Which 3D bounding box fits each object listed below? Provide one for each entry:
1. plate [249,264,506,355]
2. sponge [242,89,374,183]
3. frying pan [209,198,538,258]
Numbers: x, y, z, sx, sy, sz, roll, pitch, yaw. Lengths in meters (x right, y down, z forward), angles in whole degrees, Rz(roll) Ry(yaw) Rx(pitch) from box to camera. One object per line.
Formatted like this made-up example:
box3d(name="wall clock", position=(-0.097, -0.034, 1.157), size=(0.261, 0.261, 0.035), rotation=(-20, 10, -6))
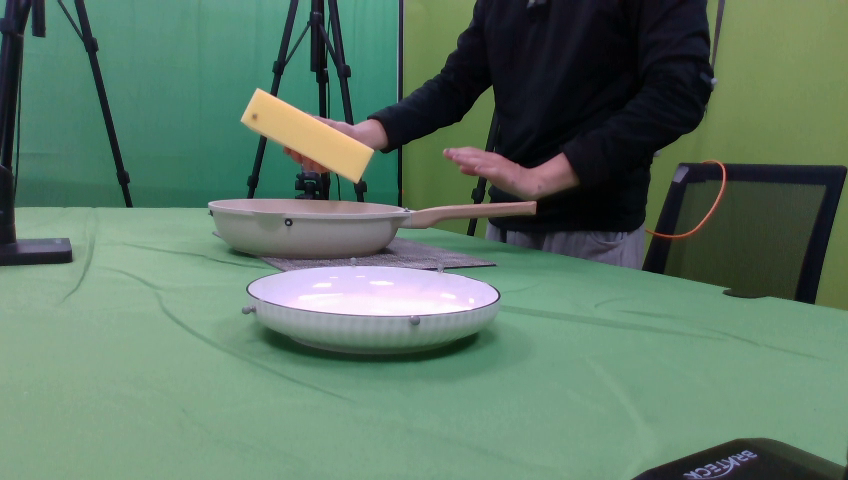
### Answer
box3d(name="plate", position=(-0.037, 0.056, 0.504), size=(0.208, 0.039, 0.207), rotation=(2, 7, 0))
box3d(name="sponge", position=(-0.191, -0.171, 1.025), size=(0.207, 0.061, 0.118), rotation=(27, 0, -10))
box3d(name="frying pan", position=(-0.075, -0.033, 0.912), size=(0.487, 0.102, 0.307), rotation=(-5, 6, 12))
